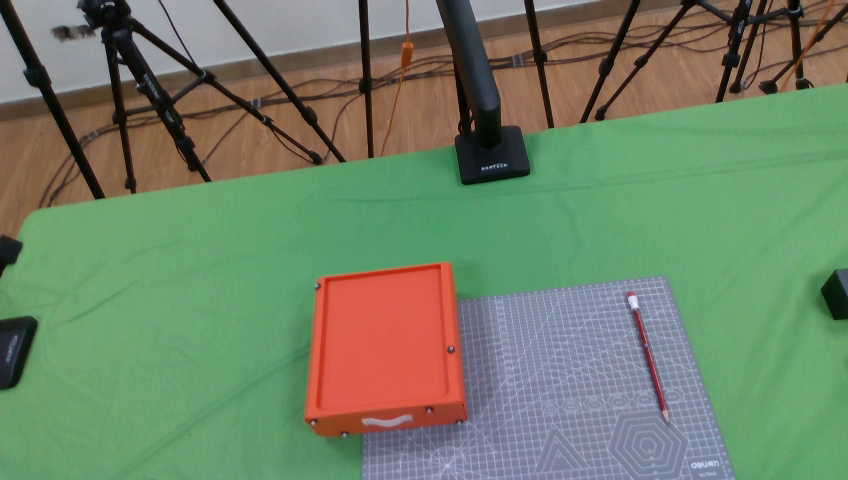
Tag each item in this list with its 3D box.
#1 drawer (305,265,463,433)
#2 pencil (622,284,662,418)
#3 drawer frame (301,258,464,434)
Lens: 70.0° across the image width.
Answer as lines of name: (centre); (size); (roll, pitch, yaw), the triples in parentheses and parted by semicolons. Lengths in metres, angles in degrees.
drawer: (-0.054, 0.146, 0.828); (0.194, 0.074, 0.209); (-8, 53, 5)
pencil: (0.294, 0.145, 0.817); (0.012, 0.012, 0.192); (-7, 57, 4)
drawer frame: (-0.056, 0.143, 0.828); (0.201, 0.083, 0.211); (-8, 53, 5)
